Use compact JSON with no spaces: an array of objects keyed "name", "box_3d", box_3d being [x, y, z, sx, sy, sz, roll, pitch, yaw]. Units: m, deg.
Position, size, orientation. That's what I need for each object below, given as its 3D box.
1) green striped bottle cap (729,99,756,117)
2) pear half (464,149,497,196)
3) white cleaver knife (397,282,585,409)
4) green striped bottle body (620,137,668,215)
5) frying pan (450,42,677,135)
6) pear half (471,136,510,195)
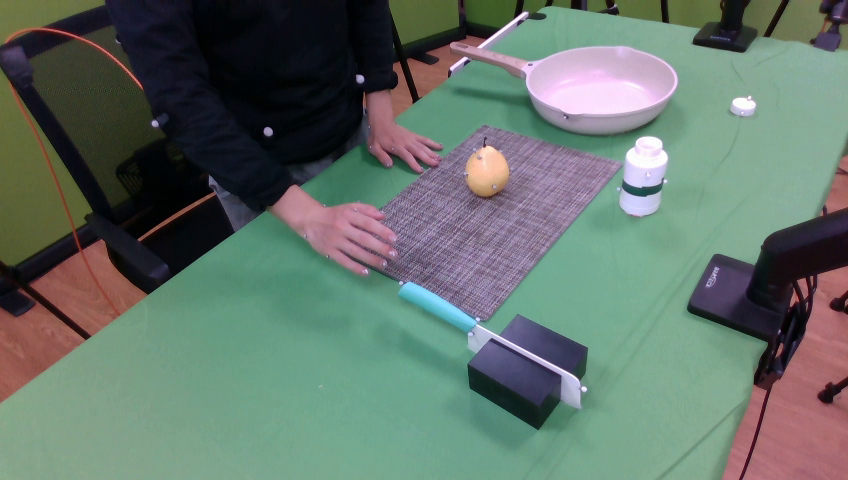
[{"name":"green striped bottle cap","box_3d":[0.623,-0.259,1.182,0.044,0.020,0.044,-3,40,3]},{"name":"pear half","box_3d":[0.091,-0.110,1.025,0.070,0.088,0.031,30,52,29]},{"name":"white cleaver knife","box_3d":[0.074,0.131,0.770,0.284,0.066,0.021,27,45,31]},{"name":"green striped bottle body","box_3d":[0.350,-0.103,0.963,0.063,0.120,0.063,-4,41,4]},{"name":"frying pan","box_3d":[0.268,-0.344,1.266,0.485,0.103,0.307,26,49,21]},{"name":"pear half","box_3d":[0.115,-0.136,1.036,0.076,0.110,0.056,30,52,30]}]
